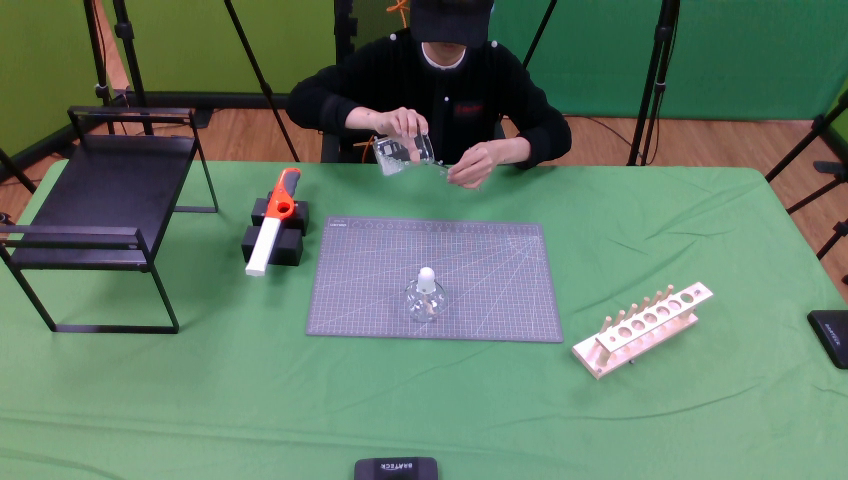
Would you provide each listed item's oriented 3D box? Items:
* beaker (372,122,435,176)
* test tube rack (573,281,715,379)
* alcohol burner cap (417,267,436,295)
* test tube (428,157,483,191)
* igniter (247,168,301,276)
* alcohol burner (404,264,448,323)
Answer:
[{"bbox_3d":[-0.038,-0.163,1.121,0.100,0.084,0.073,-19,42,-5],"label":"beaker"},{"bbox_3d":[0.378,0.140,1.038,0.242,0.085,0.066,-22,51,-23],"label":"test tube rack"},{"bbox_3d":[0.004,0.066,1.019,0.034,0.048,0.033,0,47,1],"label":"alcohol burner cap"},{"bbox_3d":[0.064,-0.129,1.198,0.151,0.017,0.017,23,32,-39],"label":"test tube"},{"bbox_3d":[-0.282,-0.043,1.149,0.057,0.025,0.275,8,48,-1],"label":"igniter"},{"bbox_3d":[0.003,0.087,1.042,0.078,0.120,0.077,1,45,0],"label":"alcohol burner"}]
